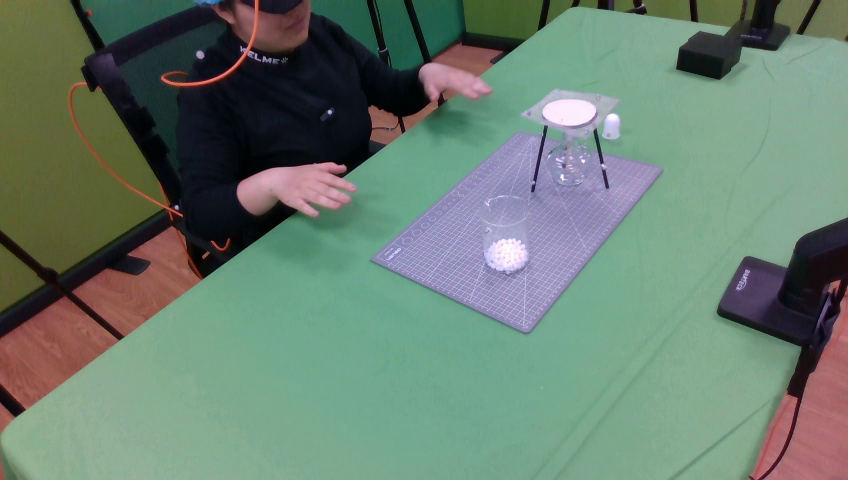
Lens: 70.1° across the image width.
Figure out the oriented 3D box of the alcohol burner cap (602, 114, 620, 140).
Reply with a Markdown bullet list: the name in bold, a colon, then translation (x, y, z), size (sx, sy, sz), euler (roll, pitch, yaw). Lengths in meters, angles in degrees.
- **alcohol burner cap**: translation (0.359, -0.217, 1.157), size (0.034, 0.048, 0.033), euler (-6, 40, 6)

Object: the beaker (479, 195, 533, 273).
- **beaker**: translation (0.122, -0.007, 0.904), size (0.074, 0.101, 0.083), euler (-30, 43, -23)

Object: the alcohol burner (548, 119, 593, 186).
- **alcohol burner**: translation (0.252, -0.154, 1.042), size (0.078, 0.120, 0.077), euler (-7, 40, 6)

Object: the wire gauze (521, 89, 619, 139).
- **wire gauze**: translation (0.239, -0.213, 0.994), size (0.124, 0.011, 0.122), euler (24, 49, 32)

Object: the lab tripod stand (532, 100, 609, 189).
- **lab tripod stand**: translation (0.251, -0.161, 1.034), size (0.148, 0.132, 0.147), euler (-4, 39, 4)
